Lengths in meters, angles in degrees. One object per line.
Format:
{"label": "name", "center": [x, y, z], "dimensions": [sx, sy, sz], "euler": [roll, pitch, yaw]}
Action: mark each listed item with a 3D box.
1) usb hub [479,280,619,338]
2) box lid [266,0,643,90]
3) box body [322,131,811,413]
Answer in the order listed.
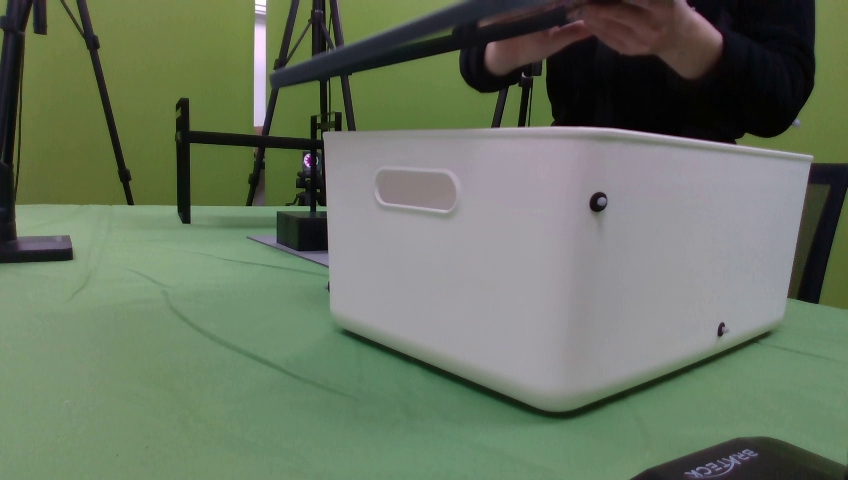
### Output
{"label": "usb hub", "center": [0.110, 0.057, 0.525], "dimensions": [0.126, 0.025, 0.049], "euler": [-5, 12, -36]}
{"label": "box lid", "center": [0.081, -0.180, 0.498], "dimensions": [0.373, 0.015, 0.262], "euler": [-26, 18, -38]}
{"label": "box body", "center": [0.124, -0.001, 0.510], "dimensions": [0.366, 0.160, 0.253], "euler": [-4, 10, -42]}
